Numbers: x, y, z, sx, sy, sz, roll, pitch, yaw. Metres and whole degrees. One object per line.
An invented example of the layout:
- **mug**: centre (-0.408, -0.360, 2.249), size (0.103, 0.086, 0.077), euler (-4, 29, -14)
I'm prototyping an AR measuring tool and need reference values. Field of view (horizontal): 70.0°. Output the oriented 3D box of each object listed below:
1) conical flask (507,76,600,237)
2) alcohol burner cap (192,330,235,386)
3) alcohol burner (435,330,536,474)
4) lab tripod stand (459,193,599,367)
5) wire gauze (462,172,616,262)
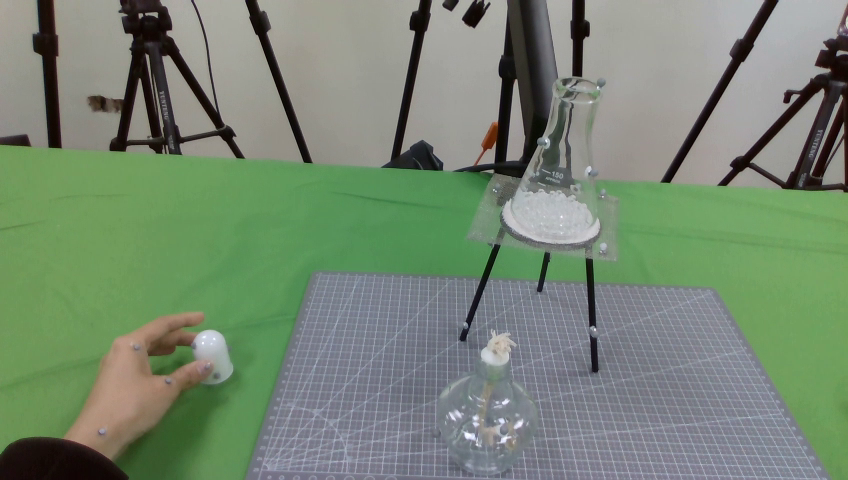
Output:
- **conical flask**: centre (0.112, -0.069, 0.495), size (0.075, 0.123, 0.074), euler (2, 34, -1)
- **alcohol burner cap**: centre (-0.187, 0.101, 0.532), size (0.034, 0.048, 0.033), euler (0, 32, 0)
- **alcohol burner**: centre (0.047, 0.117, 0.453), size (0.078, 0.120, 0.077), euler (1, 31, -1)
- **lab tripod stand**: centre (0.110, 0.035, 0.566), size (0.148, 0.132, 0.147), euler (4, 33, -2)
- **wire gauze**: centre (0.106, -0.021, 0.531), size (0.121, 0.011, 0.124), euler (10, 36, 12)
